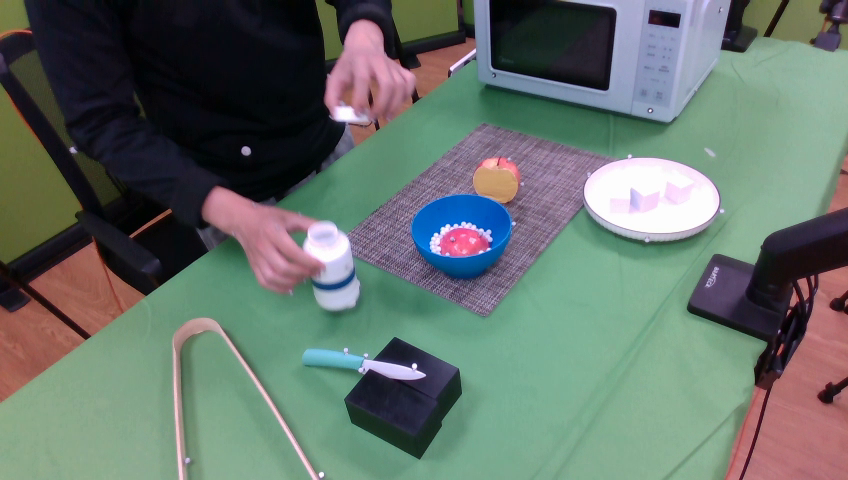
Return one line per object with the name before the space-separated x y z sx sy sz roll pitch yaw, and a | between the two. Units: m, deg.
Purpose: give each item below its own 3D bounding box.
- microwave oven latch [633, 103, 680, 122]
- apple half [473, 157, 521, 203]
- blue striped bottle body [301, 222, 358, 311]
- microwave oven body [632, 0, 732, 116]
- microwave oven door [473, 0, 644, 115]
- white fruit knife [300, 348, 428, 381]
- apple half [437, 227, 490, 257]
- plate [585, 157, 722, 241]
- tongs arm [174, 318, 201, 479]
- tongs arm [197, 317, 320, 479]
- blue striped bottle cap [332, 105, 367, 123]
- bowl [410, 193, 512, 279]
microwave oven latch | 0.444 -0.249 1.157 0.078 0.029 0.030 21 49 30
apple half | 0.128 -0.107 1.030 0.080 0.075 0.053 5 38 19
blue striped bottle body | -0.127 0.033 0.811 0.063 0.121 0.063 -3 41 3
microwave oven body | 0.377 -0.462 1.267 0.438 0.261 0.327 21 48 30
microwave oven door | 0.257 -0.396 1.199 0.353 0.245 0.039 21 48 29
white fruit knife | -0.080 0.154 0.748 0.206 0.027 0.016 1 20 34
apple half | 0.056 0.001 0.902 0.081 0.033 0.081 -3 41 3
plate | 0.367 -0.063 0.979 0.207 0.039 0.206 -4 40 4
tongs arm | -0.272 0.233 0.722 0.051 0.026 0.381 -19 41 -15
tongs arm | -0.199 0.206 0.750 0.028 0.028 0.384 -31 46 -22
blue striped bottle cap | -0.093 -0.159 0.760 0.044 0.020 0.044 1 14 0
bowl | 0.058 0.005 0.905 0.151 0.077 0.150 -4 40 4
